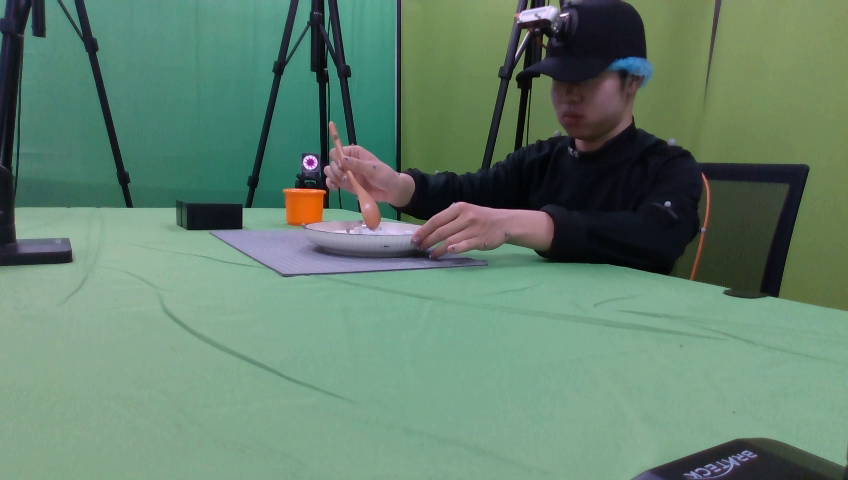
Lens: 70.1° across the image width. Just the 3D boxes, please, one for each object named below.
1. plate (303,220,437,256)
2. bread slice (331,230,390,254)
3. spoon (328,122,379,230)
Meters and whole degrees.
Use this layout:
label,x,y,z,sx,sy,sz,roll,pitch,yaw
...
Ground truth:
label,x,y,z,sx,sy,sz,roll,pitch,yaw
plate,-0.084,-0.003,0.951,0.209,0.038,0.209,3,7,0
bread slice,-0.088,0.001,0.947,0.105,0.019,0.131,-4,12,-45
spoon,-0.115,-0.103,0.939,0.021,0.193,0.042,-38,-20,31
